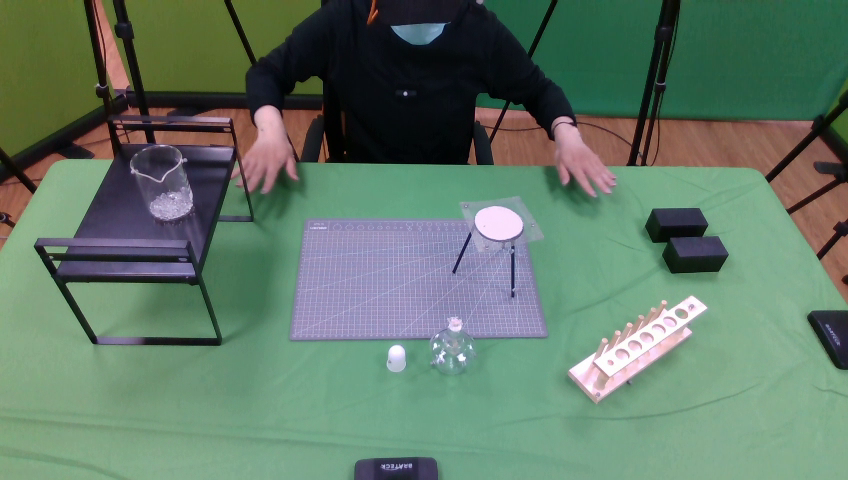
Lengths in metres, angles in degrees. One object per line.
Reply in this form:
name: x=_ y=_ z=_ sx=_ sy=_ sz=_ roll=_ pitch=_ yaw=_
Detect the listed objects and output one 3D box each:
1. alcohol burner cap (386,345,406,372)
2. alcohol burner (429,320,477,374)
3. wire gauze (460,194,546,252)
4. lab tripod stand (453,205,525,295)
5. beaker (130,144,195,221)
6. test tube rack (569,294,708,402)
alcohol burner cap: x=-0.046 y=0.192 z=0.995 sx=0.034 sy=0.048 sz=0.033 roll=3 pitch=46 yaw=-3
alcohol burner: x=0.048 y=0.164 z=0.977 sx=0.078 sy=0.120 sz=0.077 roll=2 pitch=49 yaw=-2
wire gauze: x=0.136 y=-0.035 z=1.061 sx=0.121 sy=0.011 sz=0.124 roll=-9 pitch=47 yaw=-12
lab tripod stand: x=0.131 y=0.010 z=1.111 sx=0.148 sy=0.132 sz=0.147 roll=1 pitch=45 yaw=-1
beaker: x=-0.403 y=-0.085 z=0.944 sx=0.074 sy=0.101 sz=0.083 roll=-15 pitch=50 yaw=-17
test tube rack: x=0.360 y=0.167 z=1.014 sx=0.242 sy=0.085 sz=0.066 roll=-25 pitch=53 yaw=-25
